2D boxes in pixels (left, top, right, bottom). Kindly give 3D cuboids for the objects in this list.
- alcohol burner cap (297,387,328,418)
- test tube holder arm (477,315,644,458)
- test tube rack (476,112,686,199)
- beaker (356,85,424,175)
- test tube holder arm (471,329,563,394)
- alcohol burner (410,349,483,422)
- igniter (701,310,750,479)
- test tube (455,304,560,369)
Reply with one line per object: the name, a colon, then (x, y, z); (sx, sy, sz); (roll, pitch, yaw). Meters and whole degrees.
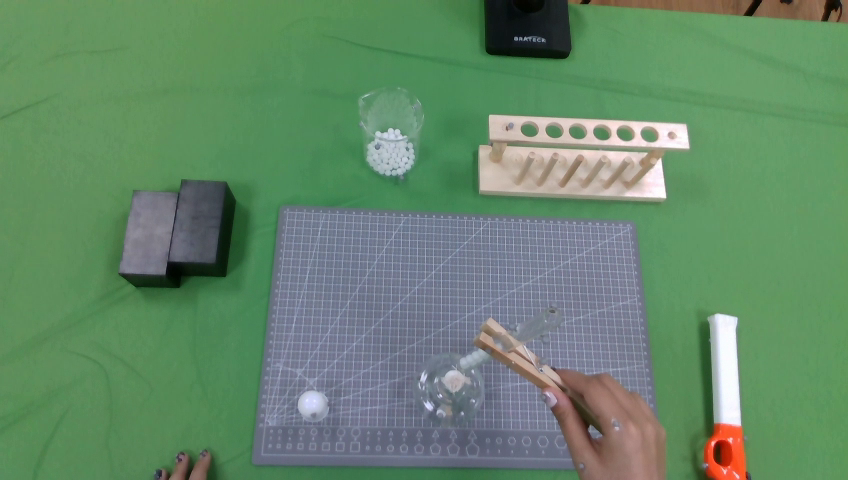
alcohol burner cap: (-0.121, 0.173, 0.651); (0.034, 0.048, 0.033); (2, 70, -5)
test tube holder arm: (0.116, 0.124, 0.508); (0.179, 0.015, 0.013); (39, 60, -5)
test tube rack: (0.192, -0.103, 0.758); (0.243, 0.085, 0.066); (2, 70, -4)
beaker: (-0.045, -0.131, 0.740); (0.084, 0.101, 0.073); (29, 70, 7)
test tube holder arm: (0.078, 0.101, 0.500); (0.088, 0.015, 0.010); (33, 60, -8)
alcohol burner: (0.026, 0.149, 0.634); (0.078, 0.120, 0.077); (2, 68, -5)
igniter: (0.340, 0.215, 0.688); (0.057, 0.025, 0.275); (12, 70, -11)
test tube: (0.063, 0.083, 0.497); (0.017, 0.150, 0.017); (11, 62, -21)
